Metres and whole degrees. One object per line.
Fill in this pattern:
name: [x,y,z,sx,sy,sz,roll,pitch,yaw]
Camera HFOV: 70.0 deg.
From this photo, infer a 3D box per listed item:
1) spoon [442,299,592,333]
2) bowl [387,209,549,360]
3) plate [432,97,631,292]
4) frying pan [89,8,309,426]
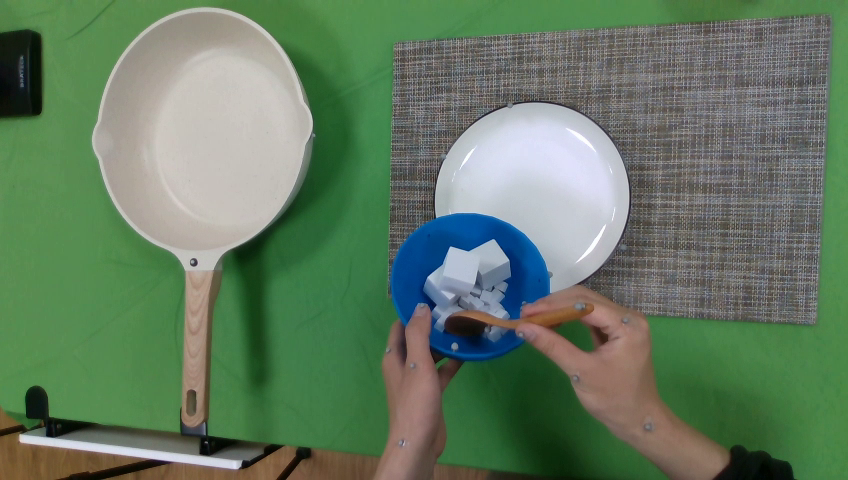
spoon: [0.072,0.065,0.504,0.042,0.193,0.021,23,72,-22]
bowl: [0.040,0.054,0.592,0.151,0.077,0.150,1,62,-2]
plate: [0.113,-0.046,0.651,0.207,0.039,0.207,0,92,17]
frying pan: [-0.269,-0.026,0.734,0.306,0.103,0.486,0,83,17]
